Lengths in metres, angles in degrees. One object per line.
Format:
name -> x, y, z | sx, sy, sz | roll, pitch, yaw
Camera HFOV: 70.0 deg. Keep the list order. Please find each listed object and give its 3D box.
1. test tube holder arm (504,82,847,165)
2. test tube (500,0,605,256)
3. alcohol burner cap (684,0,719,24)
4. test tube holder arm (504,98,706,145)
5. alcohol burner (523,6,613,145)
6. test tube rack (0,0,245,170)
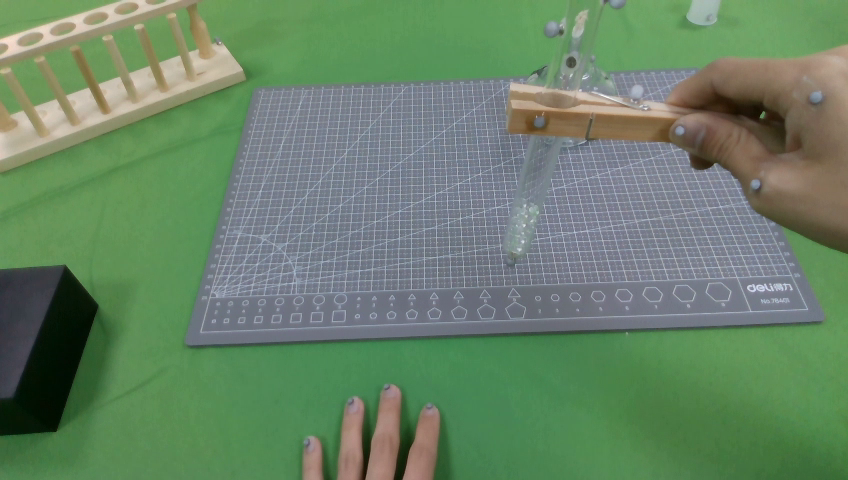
test tube holder arm -> 0.126, -0.051, 0.275 | 0.178, 0.015, 0.013 | 8, 47, 2
test tube -> 0.056, -0.048, 0.284 | 0.017, 0.151, 0.017 | 4, 44, -4
alcohol burner cap -> 0.304, -0.262, 0.655 | 0.034, 0.048, 0.033 | -2, 51, 3
test tube holder arm -> 0.080, -0.053, 0.272 | 0.088, 0.015, 0.010 | 3, 46, -3
alcohol burner -> 0.124, -0.142, 0.515 | 0.078, 0.120, 0.077 | -1, 49, 2
test tube rack -> -0.306, -0.162, 0.577 | 0.242, 0.086, 0.066 | -27, 54, -18
